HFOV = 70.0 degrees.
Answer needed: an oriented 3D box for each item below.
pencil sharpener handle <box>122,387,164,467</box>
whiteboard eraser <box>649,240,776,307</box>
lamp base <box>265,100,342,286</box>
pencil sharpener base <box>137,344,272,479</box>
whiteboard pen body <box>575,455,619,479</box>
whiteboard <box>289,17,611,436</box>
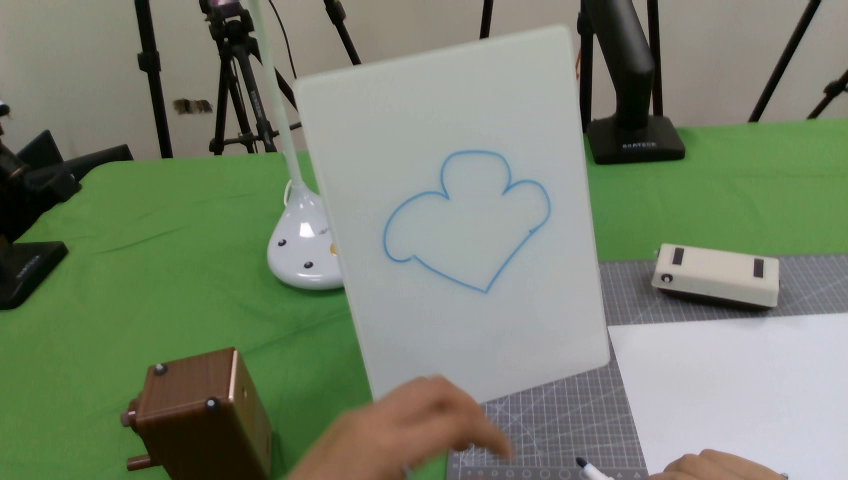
[{"bbox_3d":[-0.224,0.148,0.472,0.031,0.068,0.035,-12,24,-5],"label":"pencil sharpener handle"},{"bbox_3d":[0.287,0.034,0.604,0.112,0.042,0.055,10,41,23],"label":"whiteboard eraser"},{"bbox_3d":[-0.131,-0.064,0.702,0.160,0.182,0.177,-33,41,-30],"label":"lamp base"},{"bbox_3d":[-0.173,0.146,0.487,0.077,0.108,0.060,-12,37,-5],"label":"pencil sharpener base"},{"bbox_3d":[0.138,0.173,0.343,0.017,0.017,0.139,-28,46,-25],"label":"whiteboard pen body"},{"bbox_3d":[0.024,-0.018,0.555,0.217,0.307,0.143,-15,18,-8],"label":"whiteboard"}]
